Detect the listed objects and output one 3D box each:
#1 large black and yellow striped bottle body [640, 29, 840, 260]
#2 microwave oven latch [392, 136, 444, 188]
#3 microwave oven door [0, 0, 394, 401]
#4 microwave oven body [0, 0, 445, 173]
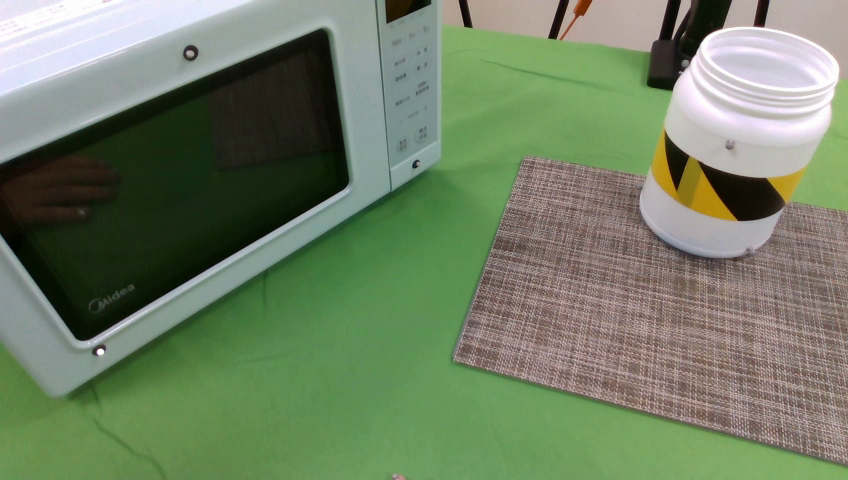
[{"bbox_3d":[0.288,-0.086,0.566,0.131,0.185,0.129,0,45,1],"label":"large black and yellow striped bottle body"},{"bbox_3d":[-0.012,-0.088,0.659,0.079,0.030,0.030,-34,54,-28],"label":"microwave oven latch"},{"bbox_3d":[-0.173,-0.052,0.480,0.356,0.246,0.039,-35,54,-29],"label":"microwave oven door"},{"bbox_3d":[-0.245,-0.141,0.578,0.441,0.262,0.323,-36,55,-29],"label":"microwave oven body"}]
